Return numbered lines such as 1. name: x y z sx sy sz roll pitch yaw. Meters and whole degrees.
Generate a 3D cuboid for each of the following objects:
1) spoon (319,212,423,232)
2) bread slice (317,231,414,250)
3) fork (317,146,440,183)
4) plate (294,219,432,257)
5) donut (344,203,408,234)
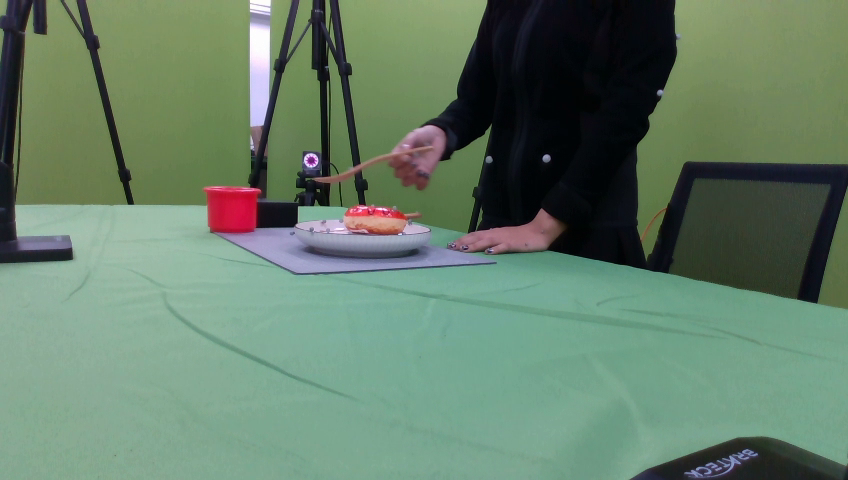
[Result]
1. spoon: -0.083 -0.028 1.005 0.194 0.021 0.041 -17 20 -30
2. bread slice: -0.093 -0.001 0.915 0.132 0.019 0.104 0 7 -26
3. fork: -0.075 -0.124 0.989 0.207 0.018 0.028 -18 -10 4
4. plate: -0.092 -0.004 0.924 0.209 0.038 0.209 2 7 0
5. donut: -0.074 -0.031 0.931 0.099 0.048 0.099 4 3 0
